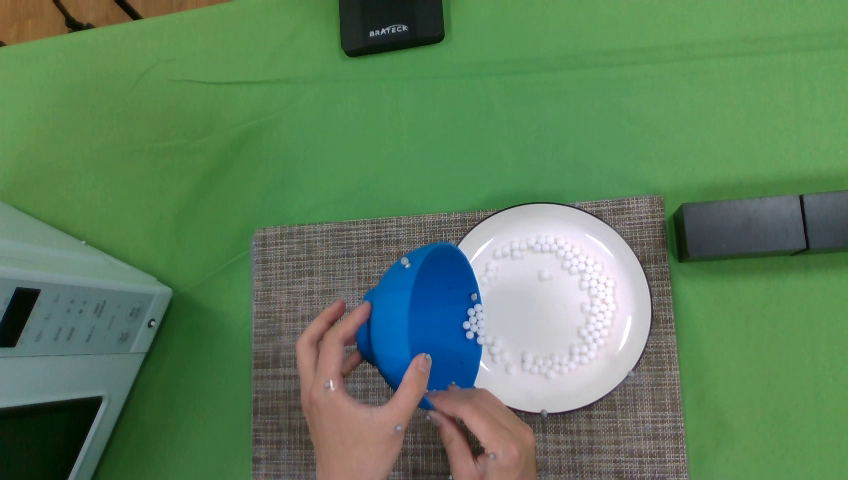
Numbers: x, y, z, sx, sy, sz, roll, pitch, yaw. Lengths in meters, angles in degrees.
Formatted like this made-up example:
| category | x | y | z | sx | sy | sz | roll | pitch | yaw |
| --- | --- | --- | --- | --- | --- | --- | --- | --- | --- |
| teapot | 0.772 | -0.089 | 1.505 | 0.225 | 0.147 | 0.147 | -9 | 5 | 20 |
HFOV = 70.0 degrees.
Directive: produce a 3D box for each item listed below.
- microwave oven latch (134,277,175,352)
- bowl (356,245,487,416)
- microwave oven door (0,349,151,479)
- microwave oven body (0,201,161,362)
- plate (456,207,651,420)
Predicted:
| category | x | y | z | sx | sy | sz | roll | pitch | yaw |
| --- | --- | --- | --- | --- | --- | --- | --- | --- | --- |
| microwave oven latch | -0.311 | 0.084 | 0.683 | 0.030 | 0.029 | 0.079 | 25 | 88 | 15 |
| bowl | -0.009 | 0.081 | 0.552 | 0.076 | 0.152 | 0.151 | -4 | 80 | 29 |
| microwave oven door | -0.422 | 0.268 | 0.574 | 0.039 | 0.245 | 0.355 | 22 | 87 | 16 |
| microwave oven body | -0.534 | 0.177 | 0.618 | 0.324 | 0.261 | 0.441 | 22 | 87 | 14 |
| plate | 0.116 | 0.071 | 0.606 | 0.207 | 0.039 | 0.207 | -2 | 81 | 12 |
